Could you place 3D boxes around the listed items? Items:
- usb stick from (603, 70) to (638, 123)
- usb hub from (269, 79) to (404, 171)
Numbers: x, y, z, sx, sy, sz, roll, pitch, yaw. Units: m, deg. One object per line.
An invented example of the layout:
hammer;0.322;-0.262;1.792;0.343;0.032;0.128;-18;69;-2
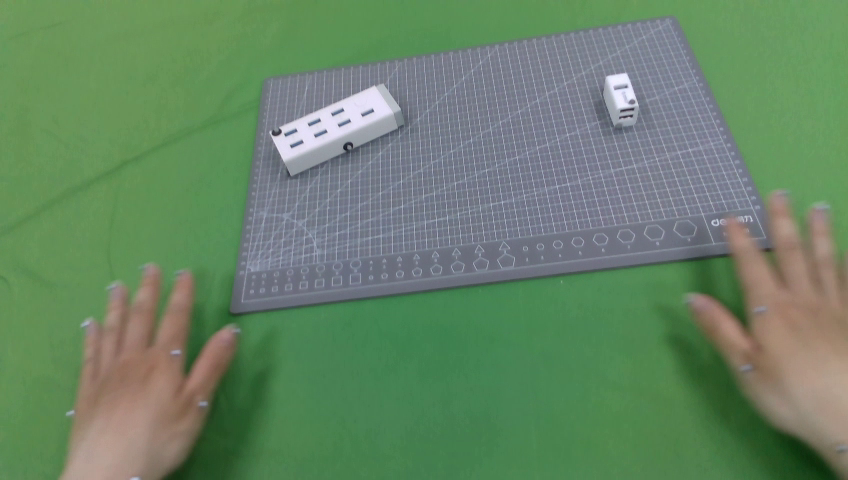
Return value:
usb stick;0.183;-0.140;0.570;0.021;0.027;0.058;-9;53;6
usb hub;-0.086;-0.115;0.599;0.125;0.025;0.049;-25;56;-9
